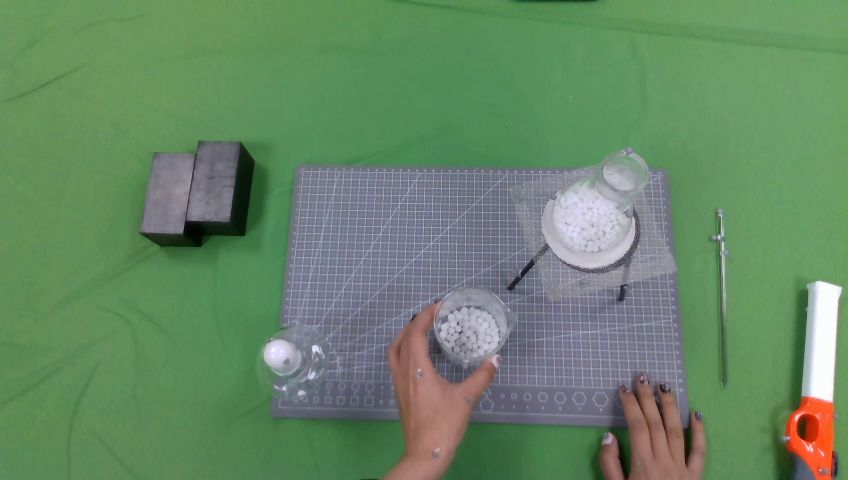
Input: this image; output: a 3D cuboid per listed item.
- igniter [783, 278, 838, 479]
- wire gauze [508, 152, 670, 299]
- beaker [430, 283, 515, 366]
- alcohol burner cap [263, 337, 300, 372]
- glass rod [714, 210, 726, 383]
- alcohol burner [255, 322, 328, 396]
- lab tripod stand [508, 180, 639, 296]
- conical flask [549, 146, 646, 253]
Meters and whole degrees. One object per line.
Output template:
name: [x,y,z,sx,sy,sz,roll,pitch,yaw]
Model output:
igniter: [0.407,0.174,0.634,0.057,0.025,0.275,16,75,-4]
wire gauze: [0.155,-0.015,0.573,0.125,0.011,0.121,-14,76,-4]
beaker: [0.049,0.092,0.632,0.084,0.101,0.073,-8,73,-1]
alcohol burner cap: [-0.140,0.109,0.589,0.034,0.048,0.033,1,72,-3]
glass rod: [0.332,0.059,0.681,0.008,0.008,0.198,5,73,4]
alcohol burner: [-0.139,0.121,0.623,0.078,0.119,0.077,0,74,1]
lab tripod stand: [0.159,0.006,0.635,0.148,0.132,0.147,-1,75,3]
conical flask: [0.153,-0.037,0.518,0.075,0.122,0.075,0,75,2]
